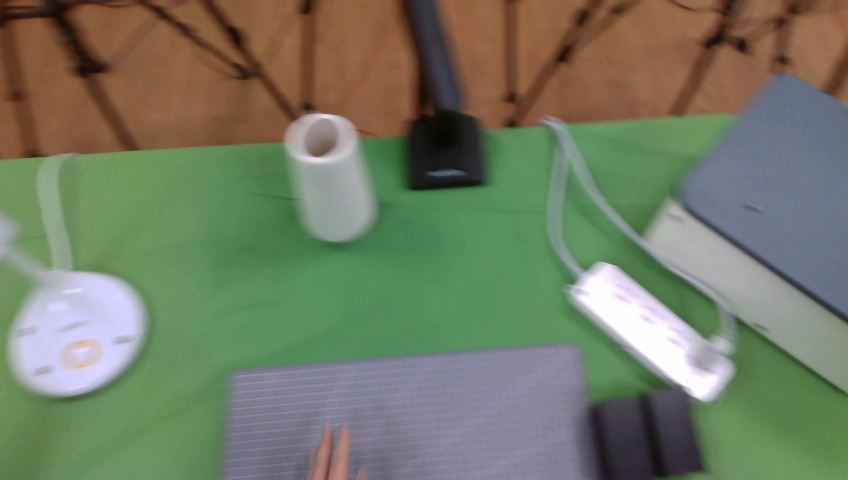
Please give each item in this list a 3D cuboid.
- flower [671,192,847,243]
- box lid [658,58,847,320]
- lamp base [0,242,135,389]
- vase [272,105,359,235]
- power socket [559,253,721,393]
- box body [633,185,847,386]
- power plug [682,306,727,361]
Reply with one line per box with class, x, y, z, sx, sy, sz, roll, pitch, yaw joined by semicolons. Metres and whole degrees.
flower;0.531;-0.016;0.851;0.359;0.038;0.044;21;57;28
box lid;0.490;-0.046;0.706;0.369;0.015;0.263;37;72;14
lamp base;-0.461;0.071;0.711;0.160;0.181;0.178;-34;68;-15
vase;-0.137;-0.085;0.775;0.098;0.201;0.097;1;65;-1
power socket;0.281;0.105;0.789;0.225;0.033;0.072;41;71;16
box body;0.489;-0.016;0.775;0.362;0.161;0.253;37;71;14
power plug;0.355;0.122;0.758;0.072;0.053;0.035;-32;69;-18
